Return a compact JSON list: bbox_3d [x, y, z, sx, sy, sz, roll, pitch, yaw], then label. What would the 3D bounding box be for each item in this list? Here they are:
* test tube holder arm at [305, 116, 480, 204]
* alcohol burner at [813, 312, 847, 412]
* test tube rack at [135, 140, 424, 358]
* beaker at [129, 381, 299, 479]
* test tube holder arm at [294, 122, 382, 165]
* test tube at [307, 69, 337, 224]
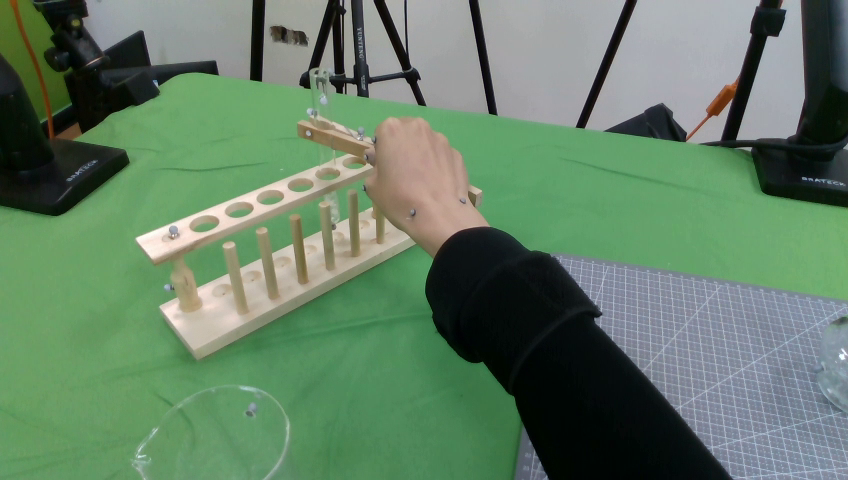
[{"bbox_3d":[-0.030,-0.068,0.496,0.177,0.015,0.013,25,47,25],"label":"test tube holder arm"},{"bbox_3d":[0.328,0.070,0.429,0.078,0.120,0.077,1,36,0],"label":"alcohol burner"},{"bbox_3d":[-0.111,-0.002,0.536,0.242,0.086,0.066,-28,47,-32],"label":"test tube rack"},{"bbox_3d":[-0.110,0.142,0.343,0.084,0.101,0.073,-5,38,-7],"label":"beaker"},{"bbox_3d":[-0.071,-0.081,0.510,0.087,0.015,0.010,19,45,19],"label":"test tube holder arm"},{"bbox_3d":[-0.089,-0.076,0.533,0.017,0.151,0.017,1,38,-1],"label":"test tube"}]
